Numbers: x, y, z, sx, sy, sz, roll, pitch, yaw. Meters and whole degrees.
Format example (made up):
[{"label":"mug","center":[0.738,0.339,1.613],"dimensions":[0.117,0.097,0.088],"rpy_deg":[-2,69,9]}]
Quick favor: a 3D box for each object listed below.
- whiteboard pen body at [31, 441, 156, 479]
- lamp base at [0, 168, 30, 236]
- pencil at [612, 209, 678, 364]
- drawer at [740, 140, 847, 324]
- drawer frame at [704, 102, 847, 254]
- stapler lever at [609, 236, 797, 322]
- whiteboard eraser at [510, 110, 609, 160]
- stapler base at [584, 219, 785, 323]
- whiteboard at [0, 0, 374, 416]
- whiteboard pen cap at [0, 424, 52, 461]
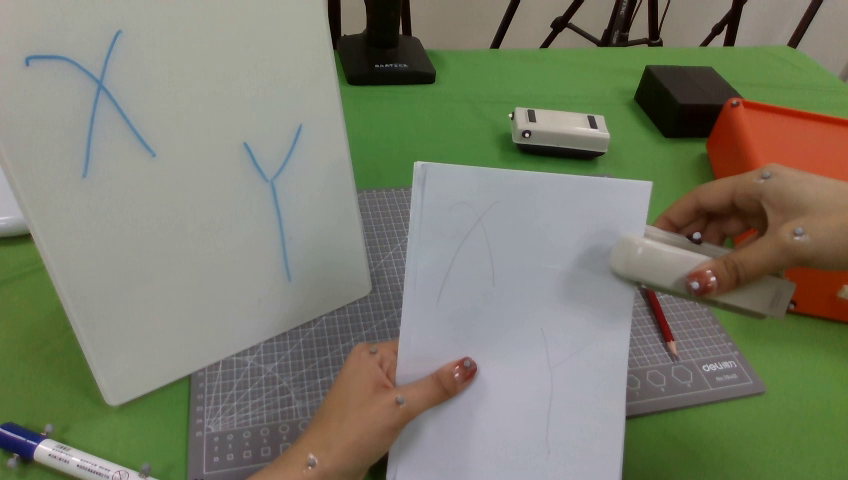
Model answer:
[{"label":"whiteboard pen body","center":[-0.205,0.148,0.385],"dimensions":[0.140,0.017,0.017],"rpy_deg":[15,43,8]},{"label":"lamp base","center":[-0.385,-0.120,0.526],"dimensions":[0.178,0.182,0.160],"rpy_deg":[22,44,18]},{"label":"pencil","center":[0.209,0.037,0.577],"dimensions":[0.012,0.012,0.192],"rpy_deg":[2,44,-6]},{"label":"drawer","center":[0.422,-0.010,0.615],"dimensions":[0.194,0.074,0.210],"rpy_deg":[10,42,3]},{"label":"drawer frame","center":[0.432,-0.052,0.660],"dimensions":[0.201,0.083,0.212],"rpy_deg":[10,42,3]},{"label":"stapler lever","center":[0.172,0.025,0.371],"dimensions":[0.118,0.027,0.040],"rpy_deg":[16,11,1]},{"label":"whiteboard eraser","center":[0.161,-0.125,0.725],"dimensions":[0.113,0.042,0.055],"rpy_deg":[6,44,-3]},{"label":"stapler base","center":[0.171,0.022,0.392],"dimensions":[0.131,0.041,0.024],"rpy_deg":[15,12,-3]},{"label":"whiteboard","center":[-0.183,-0.070,0.455],"dimensions":[0.217,0.308,0.142],"rpy_deg":[-22,31,-28]},{"label":"whiteboard pen cap","center":[-0.261,0.132,0.394],"dimensions":[0.033,0.018,0.018],"rpy_deg":[15,43,10]}]
